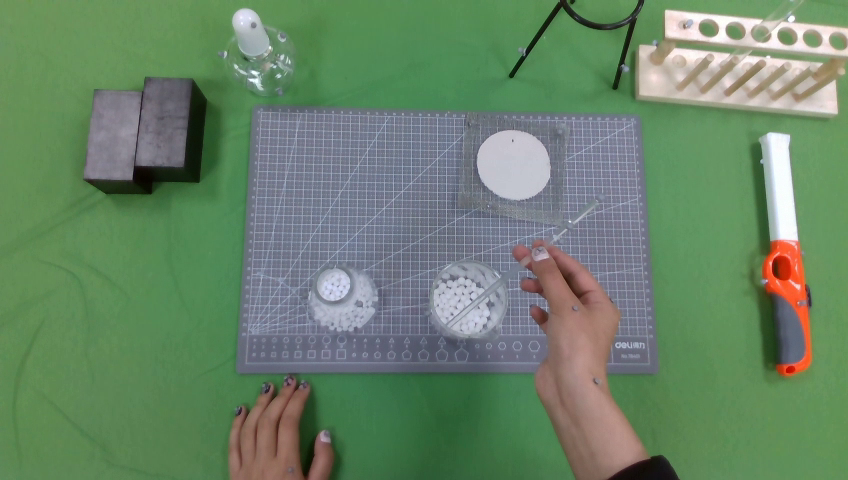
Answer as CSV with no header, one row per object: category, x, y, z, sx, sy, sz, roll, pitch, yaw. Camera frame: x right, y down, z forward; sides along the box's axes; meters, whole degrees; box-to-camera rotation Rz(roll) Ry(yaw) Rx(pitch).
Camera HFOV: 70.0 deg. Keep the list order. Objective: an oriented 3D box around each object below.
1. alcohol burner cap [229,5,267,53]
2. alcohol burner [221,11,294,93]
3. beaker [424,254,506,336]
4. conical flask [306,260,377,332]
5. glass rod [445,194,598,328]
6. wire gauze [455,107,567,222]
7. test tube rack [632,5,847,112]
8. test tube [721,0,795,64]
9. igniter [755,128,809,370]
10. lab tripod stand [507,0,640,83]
alcohol burner cap,-0.179,-0.216,0.612,0.034,0.048,0.033,1,72,-4
alcohol burner,-0.181,-0.207,0.647,0.078,0.119,0.077,0,79,-1
beaker,0.039,0.062,0.611,0.074,0.100,0.083,-35,83,-9
conical flask,-0.085,0.049,0.595,0.075,0.122,0.075,1,78,-3
glass rod,0.080,0.025,0.542,0.008,0.008,0.200,48,122,7
wire gauze,0.101,-0.089,0.692,0.125,0.011,0.121,9,78,-4
test tube rack,0.373,-0.204,0.694,0.242,0.085,0.066,4,78,-2
test tube,0.359,-0.230,0.648,0.017,0.151,0.017,0,78,0
igniter,0.402,0.006,0.684,0.057,0.025,0.275,4,78,-12
lab tripod stand,0.169,-0.241,0.665,0.148,0.132,0.148,0,80,-3
